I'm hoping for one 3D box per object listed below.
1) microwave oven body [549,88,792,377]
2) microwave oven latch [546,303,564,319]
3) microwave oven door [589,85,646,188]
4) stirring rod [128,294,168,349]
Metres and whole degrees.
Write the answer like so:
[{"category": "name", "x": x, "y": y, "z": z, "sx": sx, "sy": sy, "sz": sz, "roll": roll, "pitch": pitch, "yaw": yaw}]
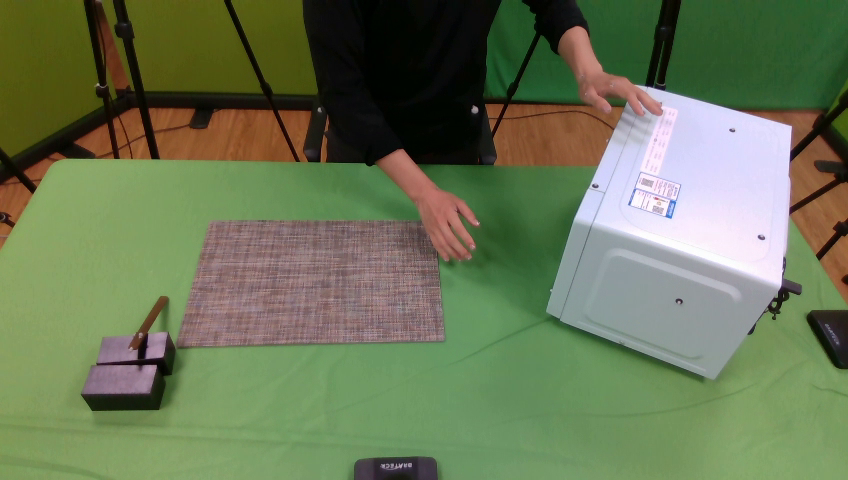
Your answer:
[{"category": "microwave oven body", "x": 0.456, "y": -0.028, "z": 1.088, "sx": 0.325, "sy": 0.261, "sz": 0.440, "roll": 20, "pitch": 47, "yaw": 16}, {"category": "microwave oven latch", "x": 0.242, "y": 0.102, "z": 1.081, "sx": 0.030, "sy": 0.029, "sz": 0.079, "roll": 22, "pitch": 48, "yaw": 17}, {"category": "microwave oven door", "x": 0.342, "y": -0.107, "z": 1.149, "sx": 0.039, "sy": 0.245, "sz": 0.354, "roll": 21, "pitch": 48, "yaw": 15}, {"category": "stirring rod", "x": -0.451, "y": 0.131, "z": 0.996, "sx": 0.014, "sy": 0.006, "sz": 0.175, "roll": 9, "pitch": 21, "yaw": -10}]
